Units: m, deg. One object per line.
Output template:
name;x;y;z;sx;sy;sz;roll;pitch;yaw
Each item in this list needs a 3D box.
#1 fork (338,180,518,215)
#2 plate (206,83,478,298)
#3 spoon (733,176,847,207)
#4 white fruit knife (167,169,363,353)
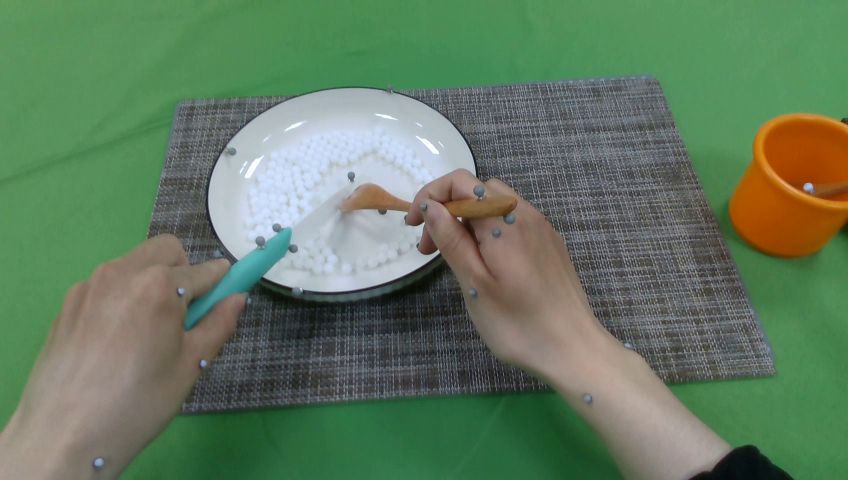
fork;-0.009;-0.026;0.396;0.028;0.019;0.206;-50;30;-20
plate;-0.061;-0.042;0.479;0.209;0.038;0.207;0;55;0
spoon;0.305;-0.037;0.413;0.041;0.192;0.022;-33;105;-24
white fruit knife;-0.100;0.001;0.426;0.016;0.027;0.206;22;44;19
